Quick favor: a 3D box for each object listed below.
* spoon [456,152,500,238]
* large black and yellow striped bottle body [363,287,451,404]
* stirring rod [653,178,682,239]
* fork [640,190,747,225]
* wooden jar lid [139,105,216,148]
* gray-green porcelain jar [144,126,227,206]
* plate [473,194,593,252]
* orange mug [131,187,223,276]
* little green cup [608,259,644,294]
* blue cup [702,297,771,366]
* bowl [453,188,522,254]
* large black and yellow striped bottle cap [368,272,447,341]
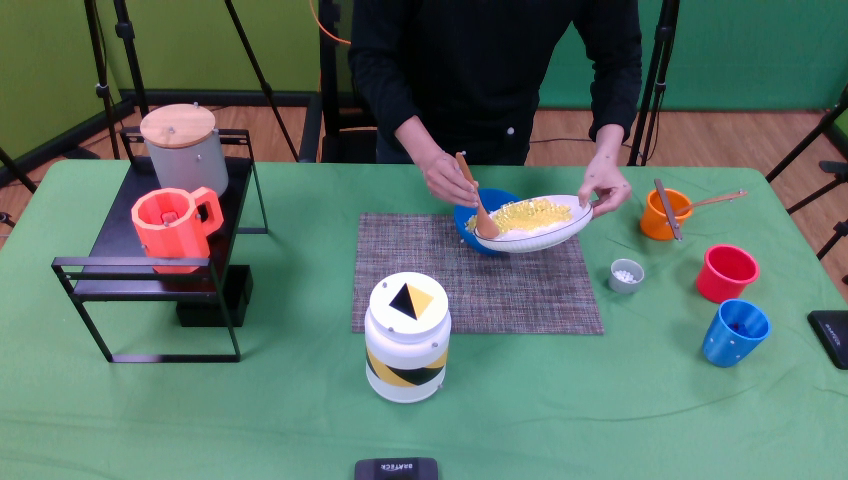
[{"bbox_3d":[0.088,-0.072,1.028,0.041,0.195,0.021,-3,40,28],"label":"spoon"},{"bbox_3d":[-0.027,0.153,0.935,0.131,0.185,0.130,2,46,-2],"label":"large black and yellow striped bottle body"},{"bbox_3d":[0.481,-0.065,1.203,0.014,0.006,0.175,2,46,-1],"label":"stirring rod"},{"bbox_3d":[0.533,-0.065,1.211,0.207,0.019,0.028,-22,28,38],"label":"fork"},{"bbox_3d":[-0.372,-0.169,0.920,0.108,0.021,0.107,4,44,-4],"label":"wooden jar lid"},{"bbox_3d":[-0.375,-0.126,0.967,0.106,0.127,0.105,2,46,-2],"label":"gray-green porcelain jar"},{"bbox_3d":[0.192,-0.027,1.061,0.209,0.038,0.208,-15,18,5],"label":"plate"},{"bbox_3d":[-0.354,-0.022,0.888,0.083,0.101,0.126,31,55,24],"label":"orange mug"},{"bbox_3d":[0.379,0.070,1.147,0.061,0.039,0.061,3,46,-3],"label":"little green cup"},{"bbox_3d":[0.519,0.162,1.025,0.093,0.101,0.092,3,45,-3],"label":"blue cup"},{"bbox_3d":[0.129,-0.026,1.186,0.151,0.077,0.150,2,45,-1],"label":"bowl"},{"bbox_3d":[-0.023,0.093,0.875,0.115,0.019,0.114,3,46,-3],"label":"large black and yellow striped bottle cap"}]
